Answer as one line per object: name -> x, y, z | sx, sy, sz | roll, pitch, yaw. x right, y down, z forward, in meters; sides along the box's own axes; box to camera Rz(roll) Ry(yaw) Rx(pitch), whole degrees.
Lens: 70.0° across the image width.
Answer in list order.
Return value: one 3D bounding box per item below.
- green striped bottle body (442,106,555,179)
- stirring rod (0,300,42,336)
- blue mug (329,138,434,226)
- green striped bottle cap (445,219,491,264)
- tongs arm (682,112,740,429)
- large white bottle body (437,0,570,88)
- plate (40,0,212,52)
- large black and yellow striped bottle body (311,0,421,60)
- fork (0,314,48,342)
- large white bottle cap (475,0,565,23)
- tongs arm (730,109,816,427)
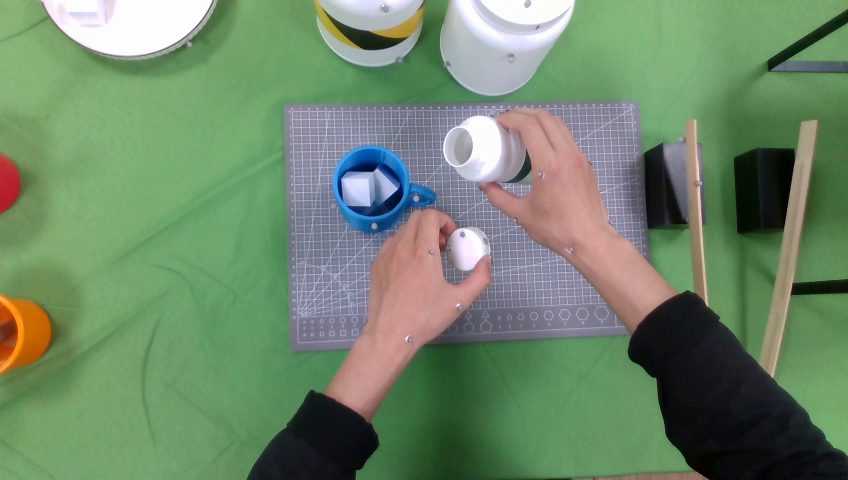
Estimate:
green striped bottle body -> 0.072, -0.095, 0.595 | 0.120, 0.063, 0.063 | -1, 83, -46
stirring rod -> -0.474, 0.115, 0.621 | 0.014, 0.006, 0.175 | 45, 40, -4
blue mug -> -0.046, -0.061, 0.690 | 0.117, 0.106, 0.082 | 5, 84, -5
green striped bottle cap -> 0.043, 0.002, 0.602 | 0.044, 0.020, 0.044 | 4, 97, 35
tongs arm -> 0.342, 0.041, 0.721 | 0.051, 0.026, 0.385 | -7, 98, -8
large white bottle body -> 0.087, -0.264, 0.682 | 0.131, 0.184, 0.130 | 0, 85, -5
plate -> -0.349, -0.320, 0.720 | 0.208, 0.039, 0.207 | 0, 85, -5
large black and yellow striped bottle body -> -0.064, -0.295, 0.671 | 0.131, 0.184, 0.130 | 1, 84, -5
fork -> -0.499, 0.078, 0.616 | 0.209, 0.018, 0.028 | 23, 79, -47
large white bottle cap -> 0.095, -0.273, 0.599 | 0.115, 0.018, 0.114 | 1, 85, -6
tongs arm -> 0.423, 0.038, 0.731 | 0.028, 0.027, 0.388 | 6, 96, -13
